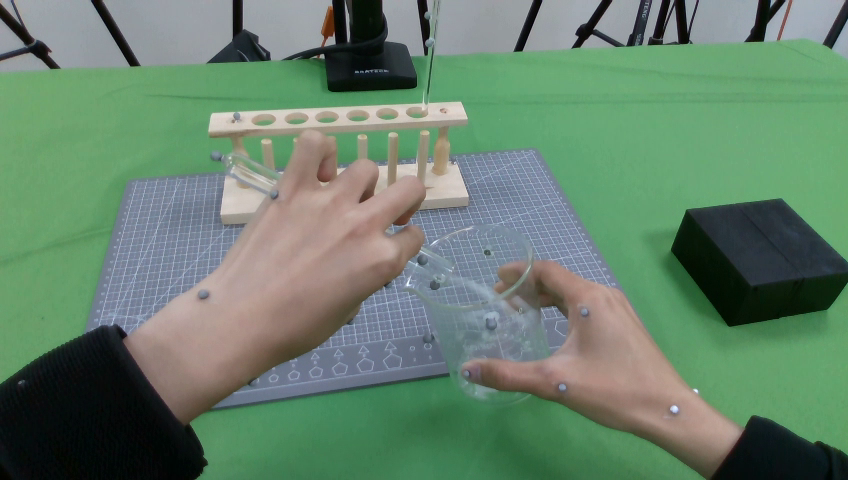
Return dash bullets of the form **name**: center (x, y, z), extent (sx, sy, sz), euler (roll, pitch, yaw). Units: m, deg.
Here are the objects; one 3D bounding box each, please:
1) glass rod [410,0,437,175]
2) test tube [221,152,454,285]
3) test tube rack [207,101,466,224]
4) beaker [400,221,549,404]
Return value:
- **glass rod**: center (-0.002, -0.142, 0.574), extent (0.008, 0.201, 0.008), euler (5, 43, -4)
- **test tube**: center (-0.050, -0.013, 0.360), extent (0.150, 0.017, 0.017), euler (27, 43, -6)
- **test tube rack**: center (-0.080, -0.078, 0.599), extent (0.243, 0.086, 0.066), euler (-5, 42, -9)
- **beaker**: center (0.037, 0.050, 0.387), extent (0.084, 0.101, 0.073), euler (-14, 37, 6)
